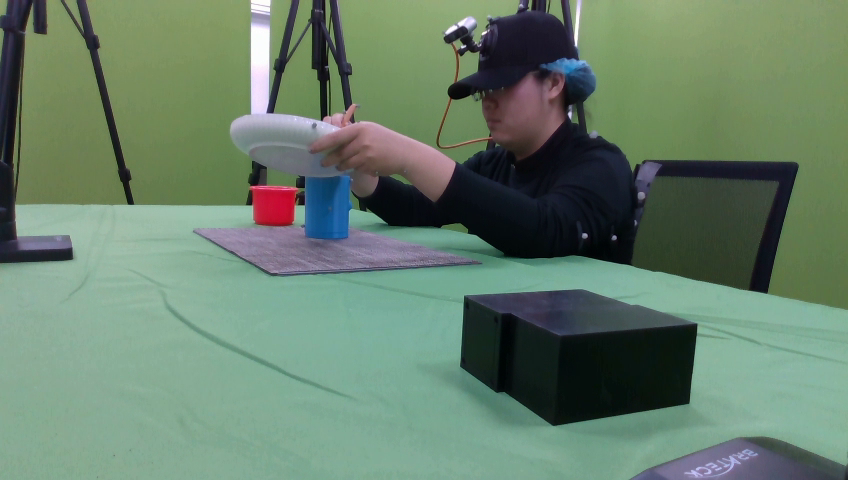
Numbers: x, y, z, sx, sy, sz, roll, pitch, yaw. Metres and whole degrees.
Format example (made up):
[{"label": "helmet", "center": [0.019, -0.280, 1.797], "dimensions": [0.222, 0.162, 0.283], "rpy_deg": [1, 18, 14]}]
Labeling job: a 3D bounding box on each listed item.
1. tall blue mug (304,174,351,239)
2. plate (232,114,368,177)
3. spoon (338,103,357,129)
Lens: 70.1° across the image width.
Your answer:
[{"label": "tall blue mug", "center": [-0.178, -0.062, 1.062], "dimensions": [0.078, 0.108, 0.106], "rpy_deg": [-5, 11, -38]}, {"label": "plate", "center": [-0.193, -0.137, 0.939], "dimensions": [0.208, 0.039, 0.208], "rpy_deg": [6, -11, 1]}, {"label": "spoon", "center": [-0.155, -0.184, 1.046], "dimensions": [0.041, 0.022, 0.194], "rpy_deg": [-8, 35, 27]}]
